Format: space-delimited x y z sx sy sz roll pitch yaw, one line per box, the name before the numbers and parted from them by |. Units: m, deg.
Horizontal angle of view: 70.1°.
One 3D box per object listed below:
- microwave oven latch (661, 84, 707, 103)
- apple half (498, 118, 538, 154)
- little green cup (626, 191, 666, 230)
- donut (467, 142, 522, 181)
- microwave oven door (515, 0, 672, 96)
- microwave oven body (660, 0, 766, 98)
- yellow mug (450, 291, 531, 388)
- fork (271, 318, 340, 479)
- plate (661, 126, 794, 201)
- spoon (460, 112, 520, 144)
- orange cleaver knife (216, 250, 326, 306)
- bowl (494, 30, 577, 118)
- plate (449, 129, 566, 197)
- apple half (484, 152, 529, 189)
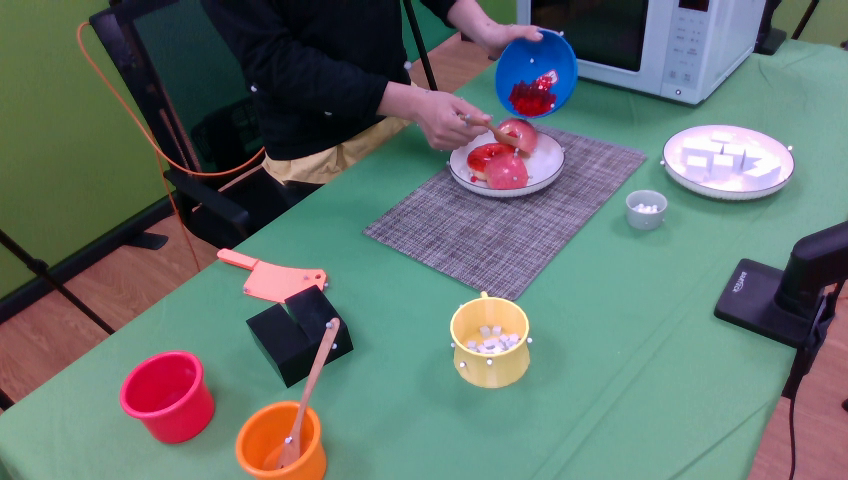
microwave oven latch | 0.517 -0.296 1.204 0.078 0.029 0.030 27 52 35
apple half | 0.176 -0.196 1.114 0.080 0.053 0.075 29 11 34
little green cup | 0.352 -0.046 0.963 0.061 0.039 0.061 -4 40 4
donut | 0.127 -0.143 1.091 0.099 0.048 0.098 -7 36 5
microwave oven door | 0.344 -0.455 1.259 0.353 0.245 0.039 26 51 33
microwave oven body | 0.472 -0.513 1.317 0.438 0.261 0.327 26 51 34
yellow mug | 0.085 0.120 0.786 0.100 0.064 0.130 -7 39 1
fork | -0.132 0.186 0.676 0.028 0.019 0.207 18 90 28
plate | 0.513 -0.128 1.035 0.207 0.039 0.206 -4 40 4
spoon | 0.105 -0.181 0.972 0.041 0.021 0.195 7 -3 32
orange cleaver knife | -0.248 0.058 0.945 0.210 0.012 0.077 13 49 20
bowl | 0.209 -0.287 1.076 0.150 0.151 0.077 21 14 30
plate | 0.150 -0.138 1.096 0.209 0.038 0.208 -4 40 4
apple half | 0.144 -0.117 1.032 0.081 0.033 0.081 3 78 -11
